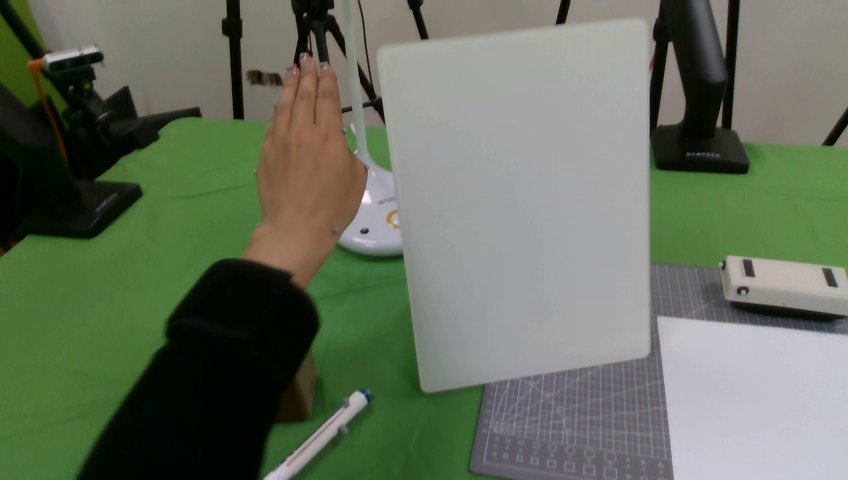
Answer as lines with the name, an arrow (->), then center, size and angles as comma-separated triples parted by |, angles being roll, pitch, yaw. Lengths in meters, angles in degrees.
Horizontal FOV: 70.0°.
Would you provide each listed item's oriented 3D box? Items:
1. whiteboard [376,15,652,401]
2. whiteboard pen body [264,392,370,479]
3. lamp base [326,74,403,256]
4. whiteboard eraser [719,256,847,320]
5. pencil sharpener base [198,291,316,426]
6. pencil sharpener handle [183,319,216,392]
whiteboard -> 0.080, -0.035, 0.572 | 0.217, 0.307, 0.143 | -8, 17, -4
whiteboard pen body -> -0.094, 0.172, 0.496 | 0.017, 0.017, 0.140 | 21, 40, 31
lamp base -> -0.056, -0.099, 0.731 | 0.161, 0.182, 0.177 | -25, 38, -26
whiteboard eraser -> 0.357, 0.048, 0.603 | 0.112, 0.042, 0.055 | 7, 39, 15
pencil sharpener base -> -0.141, 0.104, 0.521 | 0.077, 0.108, 0.061 | -5, 36, 0
pencil sharpener handle -> -0.193, 0.100, 0.510 | 0.030, 0.068, 0.035 | -5, 24, 0
